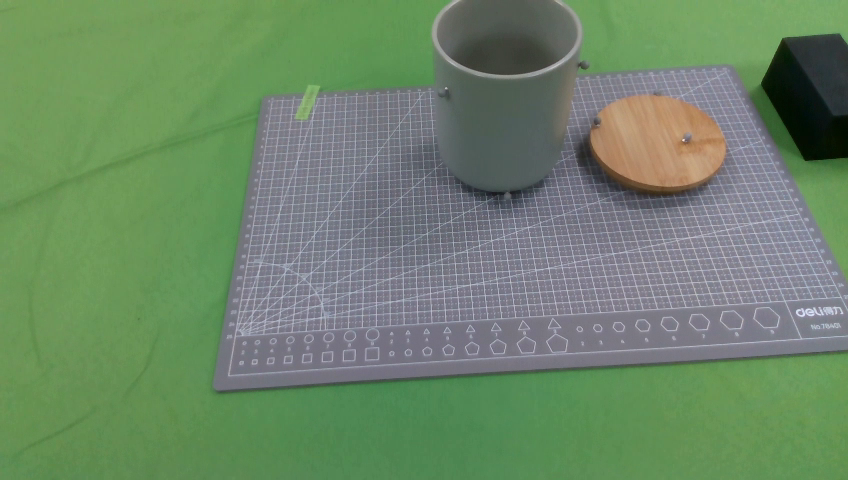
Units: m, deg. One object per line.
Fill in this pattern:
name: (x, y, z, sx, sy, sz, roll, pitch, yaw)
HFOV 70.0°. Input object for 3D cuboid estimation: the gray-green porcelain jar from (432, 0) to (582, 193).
gray-green porcelain jar: (0.061, -0.108, 0.472, 0.106, 0.127, 0.105, -1, 54, 2)

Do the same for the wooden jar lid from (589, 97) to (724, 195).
wooden jar lid: (0.193, -0.078, 0.509, 0.108, 0.021, 0.107, -2, 53, 3)
